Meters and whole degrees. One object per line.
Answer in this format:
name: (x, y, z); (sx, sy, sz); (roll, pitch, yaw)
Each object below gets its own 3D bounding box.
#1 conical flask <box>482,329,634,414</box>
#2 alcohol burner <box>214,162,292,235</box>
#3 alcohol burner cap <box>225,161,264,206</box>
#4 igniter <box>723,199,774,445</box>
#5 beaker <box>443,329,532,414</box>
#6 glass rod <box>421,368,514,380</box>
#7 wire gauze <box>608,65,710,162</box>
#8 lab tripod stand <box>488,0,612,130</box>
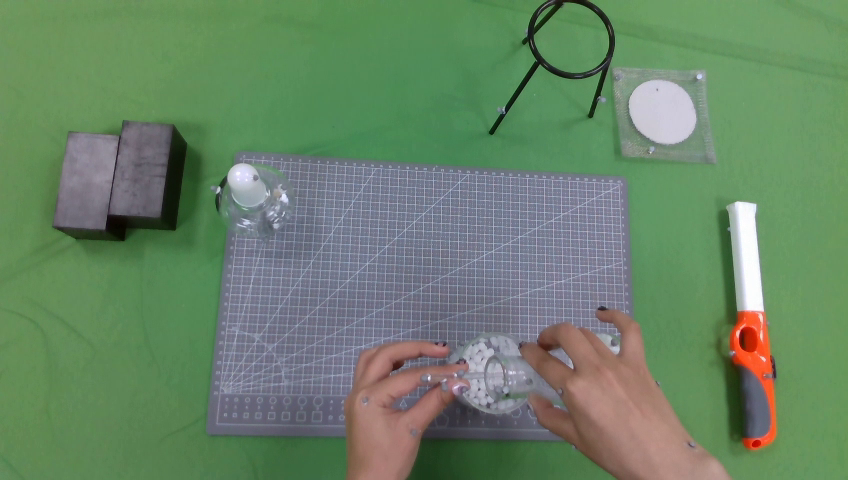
conical flask: (0.111, 0.114, 0.521); (0.122, 0.075, 0.075); (3, 76, -23)
alcohol burner: (-0.173, -0.046, 0.604); (0.078, 0.119, 0.077); (1, 78, -4)
alcohol burner cap: (-0.170, -0.056, 0.570); (0.034, 0.048, 0.033); (3, 70, -8)
igniter: (0.366, 0.088, 0.687); (0.057, 0.025, 0.275); (6, 77, -17)
beaker: (0.061, 0.128, 0.602); (0.084, 0.100, 0.074); (-40, 84, -13)
glass rod: (0.045, 0.118, 0.533); (0.008, 0.201, 0.008); (-5, 78, 27)
wire gauze: (0.289, -0.157, 0.741); (0.125, 0.011, 0.121); (2, 78, -8)
lab tripod stand: (0.137, -0.188, 0.665); (0.148, 0.132, 0.148); (1, 79, -6)
